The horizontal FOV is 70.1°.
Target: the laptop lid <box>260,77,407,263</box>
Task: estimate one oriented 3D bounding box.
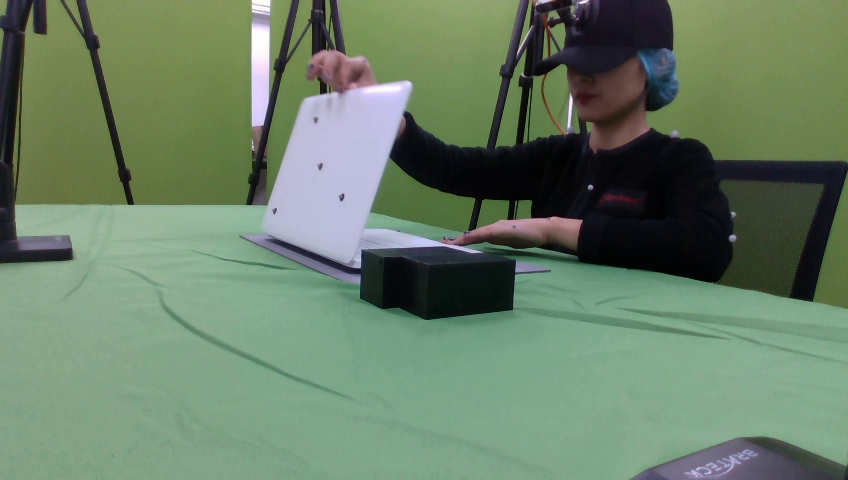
[{"bbox_3d":[-0.145,-0.105,0.854,0.013,0.241,0.355,18,-1,-33],"label":"laptop lid"}]

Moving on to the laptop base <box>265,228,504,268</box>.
[{"bbox_3d":[-0.077,0.009,0.914,0.237,0.023,0.352,2,6,-33],"label":"laptop base"}]
